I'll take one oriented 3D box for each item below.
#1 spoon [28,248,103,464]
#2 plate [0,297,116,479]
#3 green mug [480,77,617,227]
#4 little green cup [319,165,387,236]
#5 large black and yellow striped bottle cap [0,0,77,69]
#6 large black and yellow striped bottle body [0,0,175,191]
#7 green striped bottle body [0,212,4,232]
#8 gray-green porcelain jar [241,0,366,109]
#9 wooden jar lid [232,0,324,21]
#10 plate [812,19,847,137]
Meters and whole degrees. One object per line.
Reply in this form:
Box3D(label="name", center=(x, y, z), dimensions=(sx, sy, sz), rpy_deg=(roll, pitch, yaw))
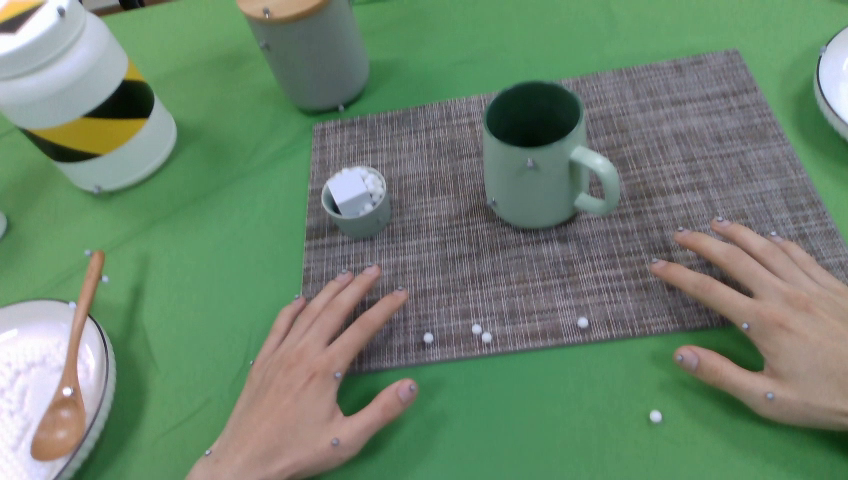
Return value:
Box3D(label="spoon", center=(-0.296, 0.090, 0.514), dimensions=(0.041, 0.022, 0.192), rpy_deg=(-6, 64, 6))
Box3D(label="plate", center=(-0.353, 0.147, 0.507), dimensions=(0.209, 0.038, 0.207), rpy_deg=(-5, 55, 8))
Box3D(label="green mug", center=(0.104, -0.064, 0.507), dimensions=(0.124, 0.106, 0.092), rpy_deg=(32, 68, 29))
Box3D(label="little green cup", center=(-0.064, -0.035, 0.564), dimensions=(0.061, 0.039, 0.061), rpy_deg=(-5, 54, 7))
Box3D(label="large black and yellow striped bottle cap", center=(-0.377, -0.198, 0.553), dimensions=(0.115, 0.019, 0.114), rpy_deg=(-6, 54, 8))
Box3D(label="large black and yellow striped bottle body", center=(-0.361, -0.153, 0.622), dimensions=(0.130, 0.186, 0.129), rpy_deg=(-6, 56, 9))
Box3D(label="green striped bottle body", center=(-0.499, -0.040, 0.614), dimensions=(0.063, 0.120, 0.062), rpy_deg=(-6, 55, 9))
Box3D(label="gray-green porcelain jar", center=(-0.124, -0.214, 0.648), dimensions=(0.106, 0.128, 0.105), rpy_deg=(-5, 55, 8))
Box3D(label="wooden jar lid", center=(-0.135, -0.249, 0.598), dimensions=(0.108, 0.021, 0.107), rpy_deg=(-5, 58, 8))
Box3D(label="plate", center=(0.449, -0.130, 0.523), dimensions=(0.207, 0.039, 0.205), rpy_deg=(-6, 55, 9))
